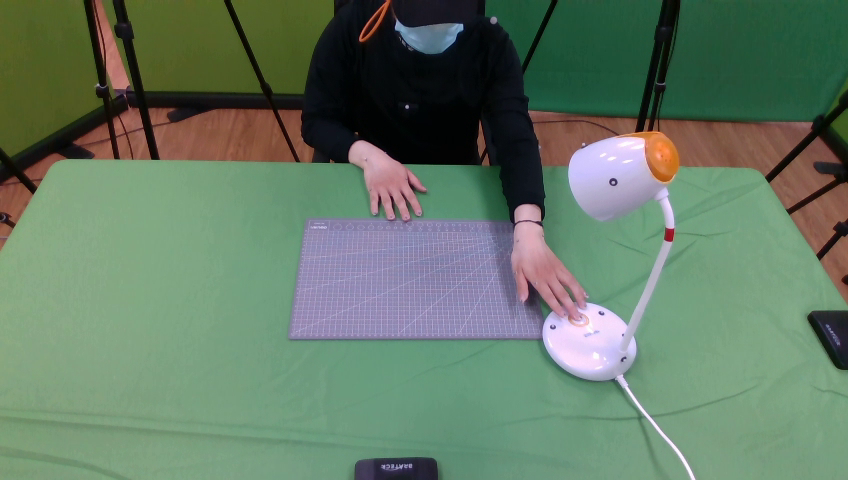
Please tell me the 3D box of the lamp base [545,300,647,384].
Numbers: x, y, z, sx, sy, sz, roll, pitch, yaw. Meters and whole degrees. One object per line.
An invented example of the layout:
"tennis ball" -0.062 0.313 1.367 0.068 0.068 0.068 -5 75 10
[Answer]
"lamp base" 0.299 0.124 0.984 0.161 0.181 0.178 -23 55 -23

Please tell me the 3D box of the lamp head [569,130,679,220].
"lamp head" 0.273 -0.090 0.799 0.113 0.122 0.112 7 78 -33
